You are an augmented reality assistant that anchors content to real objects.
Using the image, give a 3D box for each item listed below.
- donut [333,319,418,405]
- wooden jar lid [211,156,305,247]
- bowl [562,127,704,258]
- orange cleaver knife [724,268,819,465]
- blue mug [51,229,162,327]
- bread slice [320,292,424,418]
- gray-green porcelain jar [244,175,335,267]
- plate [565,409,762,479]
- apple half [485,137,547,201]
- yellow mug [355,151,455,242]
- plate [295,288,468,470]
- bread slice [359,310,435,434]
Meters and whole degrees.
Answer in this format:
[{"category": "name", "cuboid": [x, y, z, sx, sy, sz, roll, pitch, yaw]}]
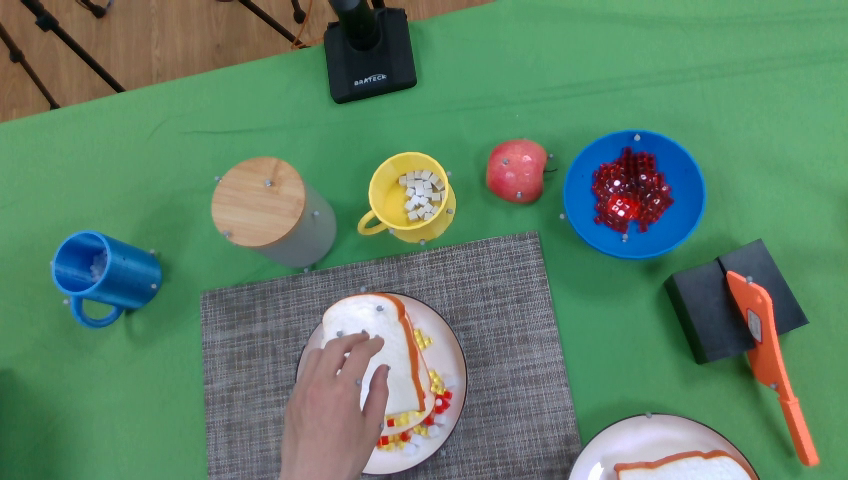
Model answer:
[{"category": "donut", "cuboid": [-0.056, 0.140, 0.696, 0.099, 0.048, 0.098, -2, 76, 10]}, {"category": "wooden jar lid", "cuboid": [-0.185, -0.042, 0.685, 0.108, 0.021, 0.108, -2, 73, 8]}, {"category": "bowl", "cuboid": [0.235, -0.045, 0.701, 0.151, 0.077, 0.150, -2, 76, 10]}, {"category": "orange cleaver knife", "cuboid": [0.360, 0.130, 0.633, 0.012, 0.077, 0.211, -21, 95, -2]}, {"category": "blue mug", "cuboid": [-0.409, 0.055, 0.778, 0.082, 0.106, 0.116, 10, 78, 13]}, {"category": "bread slice", "cuboid": [-0.061, 0.121, 0.637, 0.104, 0.019, 0.131, -11, 87, 14]}, {"category": "gray-green porcelain jar", "cuboid": [-0.173, -0.026, 0.746, 0.105, 0.127, 0.105, -2, 75, 10]}, {"category": "plate", "cuboid": [0.250, 0.284, 0.638, 0.209, 0.038, 0.208, -3, 76, 11]}, {"category": "apple half", "cuboid": [0.113, -0.093, 0.749, 0.074, 0.054, 0.080, 11, 79, 15]}, {"category": "yellow mug", "cuboid": [-0.029, -0.045, 0.756, 0.131, 0.064, 0.099, -33, 72, 2]}, {"category": "plate", "cuboid": [-0.049, 0.162, 0.719, 0.207, 0.039, 0.206, -2, 76, 10]}, {"category": "bread slice", "cuboid": [-0.045, 0.159, 0.719, 0.107, 0.018, 0.133, -28, 75, 3]}]
